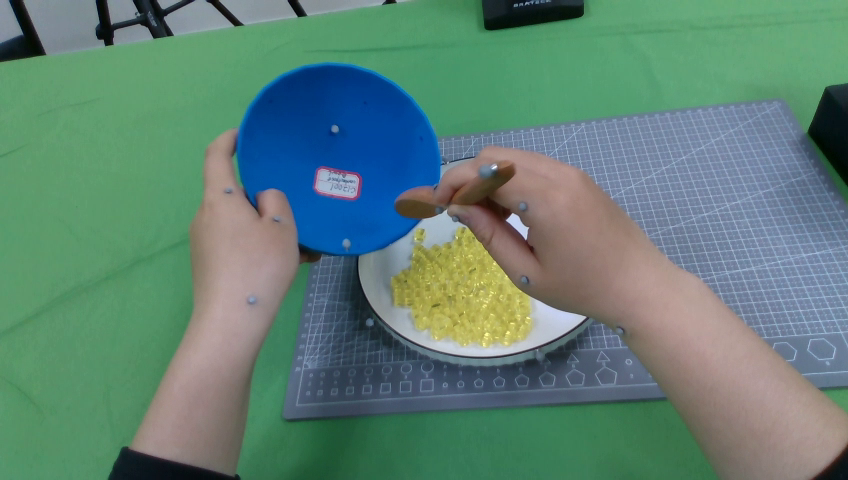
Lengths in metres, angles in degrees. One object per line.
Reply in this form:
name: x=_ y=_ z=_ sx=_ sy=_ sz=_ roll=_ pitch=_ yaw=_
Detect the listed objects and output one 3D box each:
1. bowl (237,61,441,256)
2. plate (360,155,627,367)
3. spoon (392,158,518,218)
bowl: x=-0.069 y=-0.053 z=0.478 sx=0.152 sy=0.077 sz=0.150 roll=4 pitch=75 yaw=-15
plate: x=0.054 y=0.014 z=0.489 sx=0.207 sy=0.039 sz=0.205 roll=-6 pitch=49 yaw=7
spoon: x=0.016 y=-0.026 z=0.352 sx=0.042 sy=0.193 sz=0.021 roll=4 pitch=90 yaw=-14
